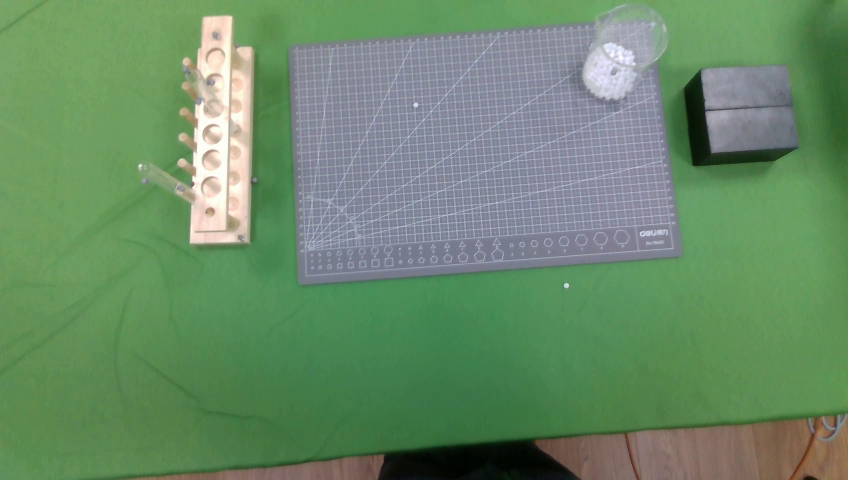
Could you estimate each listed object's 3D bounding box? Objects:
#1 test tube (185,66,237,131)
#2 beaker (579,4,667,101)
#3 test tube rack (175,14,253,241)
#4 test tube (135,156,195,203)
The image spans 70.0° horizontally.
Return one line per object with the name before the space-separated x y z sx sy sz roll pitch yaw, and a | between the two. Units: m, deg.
test tube | -0.225 -0.147 0.648 0.017 0.150 0.017 1 81 -4
beaker | 0.220 -0.211 0.695 0.084 0.100 0.074 33 82 7
test tube rack | -0.244 -0.125 0.695 0.067 0.085 0.241 -1 81 0
test tube | -0.262 -0.059 0.640 0.017 0.151 0.017 0 79 2
